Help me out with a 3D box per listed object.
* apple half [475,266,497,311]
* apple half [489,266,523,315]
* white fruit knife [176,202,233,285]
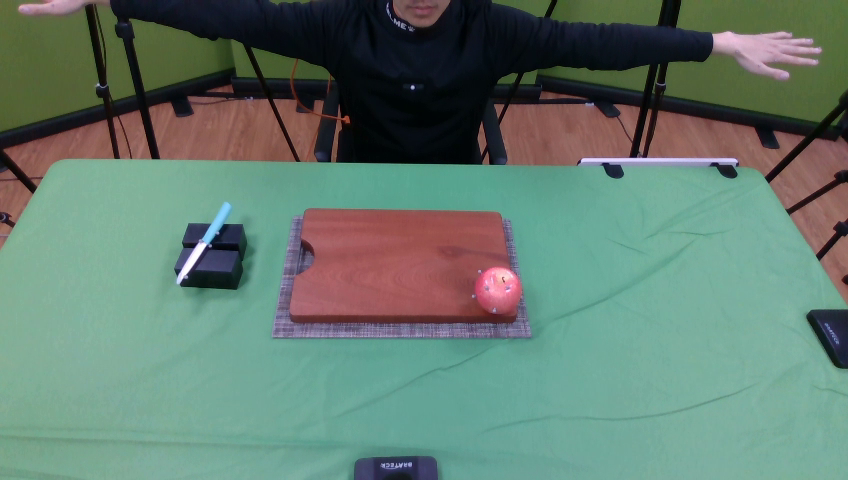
[{"bbox_3d":[0.104,0.085,1.044,0.033,0.081,0.081,9,46,1],"label":"apple half"},{"bbox_3d":[0.142,0.091,1.043,0.053,0.075,0.080,10,44,1],"label":"apple half"},{"bbox_3d":[-0.397,0.003,1.102,0.027,0.016,0.206,-5,44,24],"label":"white fruit knife"}]
